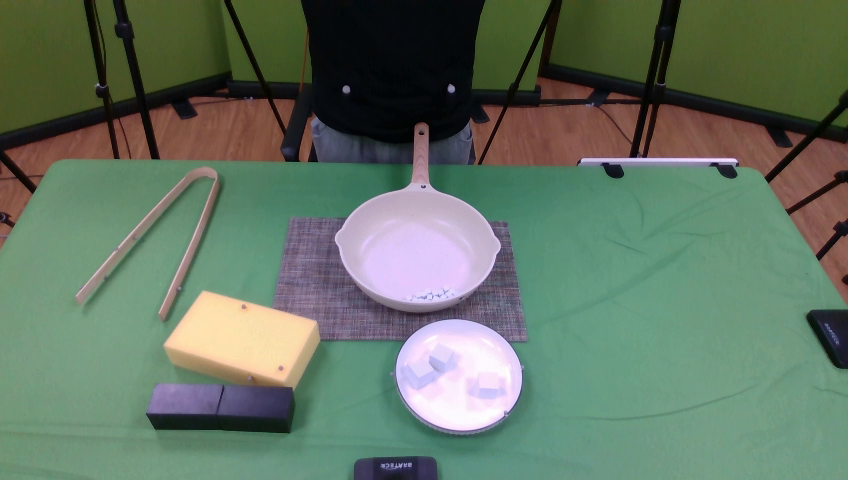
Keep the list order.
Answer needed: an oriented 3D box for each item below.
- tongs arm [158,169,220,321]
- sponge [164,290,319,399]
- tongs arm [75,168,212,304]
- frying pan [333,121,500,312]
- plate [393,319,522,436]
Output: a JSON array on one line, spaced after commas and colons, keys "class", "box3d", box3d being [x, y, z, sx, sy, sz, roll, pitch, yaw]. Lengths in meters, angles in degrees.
[{"class": "tongs arm", "box3d": [-0.446, -0.005, 1.164, 0.028, 0.028, 0.385, 1, 46, 0]}, {"class": "sponge", "box3d": [-0.292, 0.167, 0.986, 0.206, 0.061, 0.117, 14, 50, 9]}, {"class": "tongs arm", "box3d": [-0.525, -0.021, 1.167, 0.051, 0.026, 0.383, 13, 45, 7]}, {"class": "frying pan", "box3d": [-0.011, -0.063, 1.195, 0.307, 0.103, 0.485, 4, 55, -2]}, {"class": "plate", "box3d": [0.053, 0.222, 0.979, 0.208, 0.039, 0.206, 3, 46, -2]}]
